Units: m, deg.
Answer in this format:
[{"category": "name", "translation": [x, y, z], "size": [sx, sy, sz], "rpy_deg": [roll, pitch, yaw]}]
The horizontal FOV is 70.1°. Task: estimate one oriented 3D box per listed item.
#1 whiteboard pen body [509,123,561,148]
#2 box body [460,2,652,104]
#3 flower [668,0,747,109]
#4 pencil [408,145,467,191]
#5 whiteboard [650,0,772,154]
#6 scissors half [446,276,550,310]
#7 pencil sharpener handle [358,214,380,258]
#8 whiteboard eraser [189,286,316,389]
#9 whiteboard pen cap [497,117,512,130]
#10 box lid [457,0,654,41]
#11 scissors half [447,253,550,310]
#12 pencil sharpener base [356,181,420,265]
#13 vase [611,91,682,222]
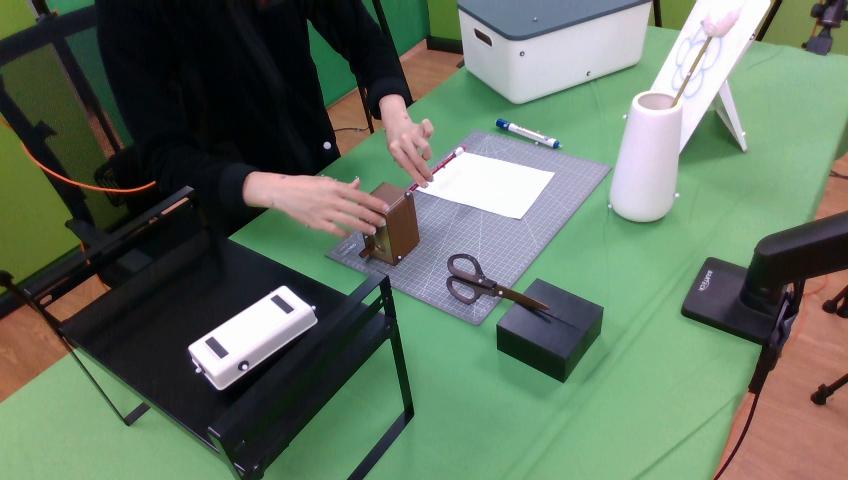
[{"category": "whiteboard pen body", "translation": [0.209, -0.212, 1.195], "size": [0.139, 0.017, 0.017], "rpy_deg": [30, 52, 33]}, {"category": "box body", "translation": [0.291, -0.465, 1.371], "size": [0.365, 0.161, 0.252], "rpy_deg": [-22, 42, -16]}, {"category": "flower", "translation": [0.355, -0.187, 0.879], "size": [0.038, 0.362, 0.044], "rpy_deg": [30, 48, 14]}, {"category": "pencil", "translation": [0.010, -0.107, 0.988], "size": [0.012, 0.012, 0.194], "rpy_deg": [25, 50, 32]}, {"category": "whiteboard", "translation": [0.543, -0.298, 1.076], "size": [0.144, 0.305, 0.216], "rpy_deg": [12, 40, -7]}, {"category": "scissors half", "translation": [0.098, 0.077, 0.827], "size": [0.174, 0.040, 0.013], "rpy_deg": [6, 14, 44]}, {"category": "pencil sharpener handle", "translation": [-0.088, -0.004, 0.903], "size": [0.036, 0.068, 0.031], "rpy_deg": [25, 50, 25]}, {"category": "whiteboard eraser", "translation": [-0.166, 0.096, 0.593], "size": [0.113, 0.042, 0.055], "rpy_deg": [-36, 47, -29]}, {"category": "whiteboard pen cap", "translation": [0.165, -0.235, 1.226], "size": [0.033, 0.018, 0.018], "rpy_deg": [31, 53, 31]}, {"category": "box lid", "translation": [0.285, -0.522, 1.323], "size": [0.373, 0.015, 0.261], "rpy_deg": [-22, 43, -16]}, {"category": "scissors half", "translation": [0.098, 0.058, 0.821], "size": [0.173, 0.040, 0.013], "rpy_deg": [27, 33, 37]}, {"category": "pencil sharpener base", "translation": [-0.056, -0.024, 0.940], "size": [0.061, 0.107, 0.077], "rpy_deg": [21, 48, 29]}, {"category": "vase", "translation": [0.348, -0.125, 0.935], "size": [0.098, 0.201, 0.097], "rpy_deg": [-3, 40, 3]}]
